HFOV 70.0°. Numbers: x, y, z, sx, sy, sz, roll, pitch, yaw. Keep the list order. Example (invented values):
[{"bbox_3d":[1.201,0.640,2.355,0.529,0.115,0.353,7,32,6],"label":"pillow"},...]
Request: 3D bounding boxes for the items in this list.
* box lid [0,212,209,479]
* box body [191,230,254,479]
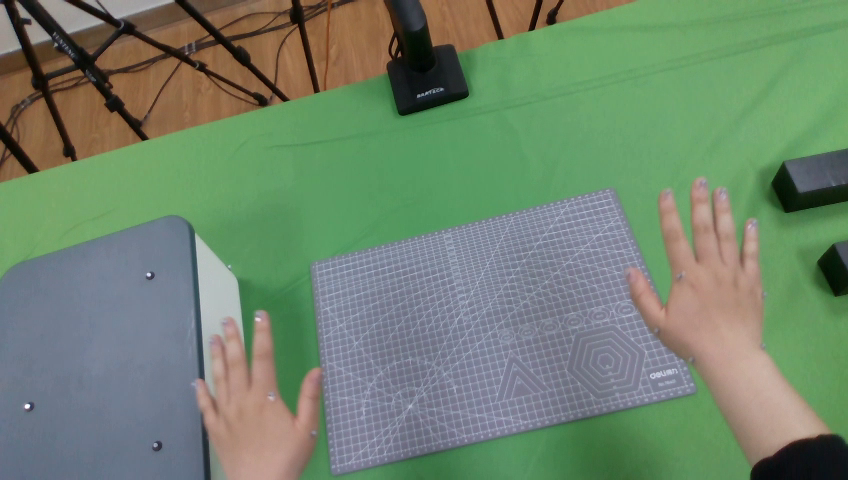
[{"bbox_3d":[-0.378,0.149,0.683,0.263,0.015,0.368,-17,63,2],"label":"box lid"},{"bbox_3d":[-0.366,0.185,0.747,0.254,0.162,0.360,-17,62,1],"label":"box body"}]
